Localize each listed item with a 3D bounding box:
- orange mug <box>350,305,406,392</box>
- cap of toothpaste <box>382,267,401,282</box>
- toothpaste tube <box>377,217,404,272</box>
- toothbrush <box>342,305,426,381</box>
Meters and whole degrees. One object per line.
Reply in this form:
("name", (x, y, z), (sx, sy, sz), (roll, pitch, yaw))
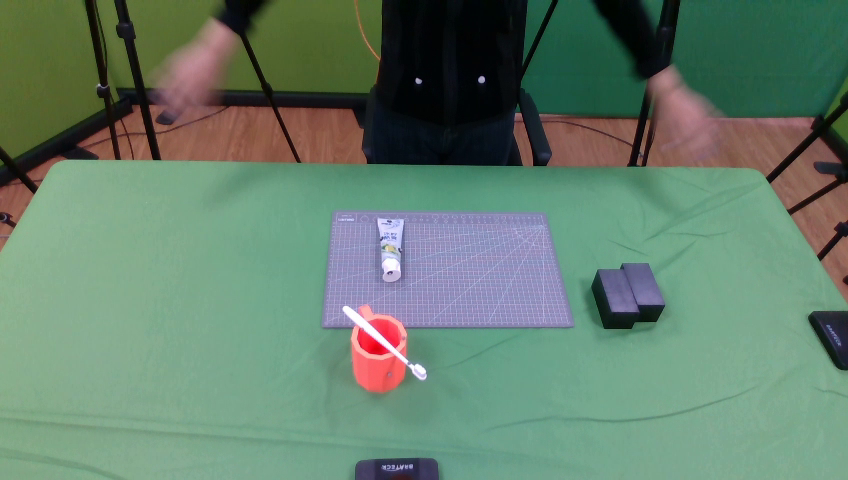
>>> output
("orange mug", (-0.080, 0.168, 0.978), (0.083, 0.101, 0.125), (-16, 54, -18))
("cap of toothpaste", (-0.060, 0.063, 1.119), (0.037, 0.037, 0.011), (-9, 50, -12))
("toothpaste tube", (-0.063, 0.008, 1.179), (0.055, 0.034, 0.164), (5, 42, -9))
("toothbrush", (-0.064, 0.153, 0.922), (0.181, 0.017, 0.014), (36, 56, 27))
